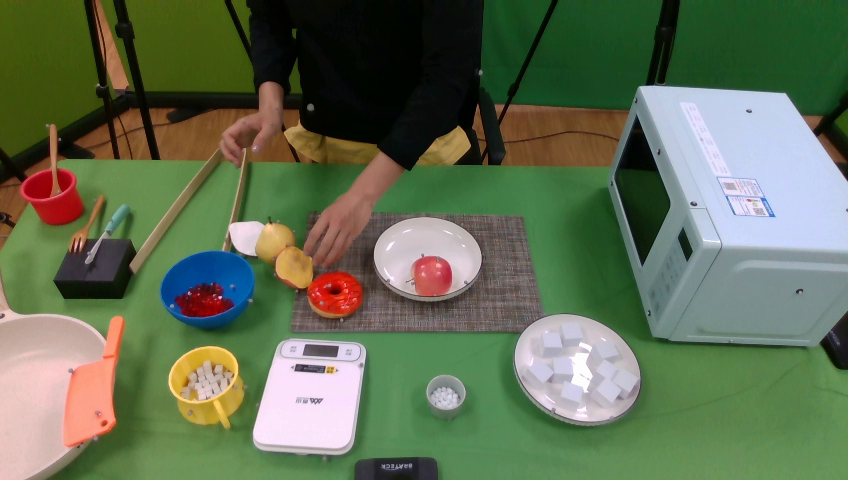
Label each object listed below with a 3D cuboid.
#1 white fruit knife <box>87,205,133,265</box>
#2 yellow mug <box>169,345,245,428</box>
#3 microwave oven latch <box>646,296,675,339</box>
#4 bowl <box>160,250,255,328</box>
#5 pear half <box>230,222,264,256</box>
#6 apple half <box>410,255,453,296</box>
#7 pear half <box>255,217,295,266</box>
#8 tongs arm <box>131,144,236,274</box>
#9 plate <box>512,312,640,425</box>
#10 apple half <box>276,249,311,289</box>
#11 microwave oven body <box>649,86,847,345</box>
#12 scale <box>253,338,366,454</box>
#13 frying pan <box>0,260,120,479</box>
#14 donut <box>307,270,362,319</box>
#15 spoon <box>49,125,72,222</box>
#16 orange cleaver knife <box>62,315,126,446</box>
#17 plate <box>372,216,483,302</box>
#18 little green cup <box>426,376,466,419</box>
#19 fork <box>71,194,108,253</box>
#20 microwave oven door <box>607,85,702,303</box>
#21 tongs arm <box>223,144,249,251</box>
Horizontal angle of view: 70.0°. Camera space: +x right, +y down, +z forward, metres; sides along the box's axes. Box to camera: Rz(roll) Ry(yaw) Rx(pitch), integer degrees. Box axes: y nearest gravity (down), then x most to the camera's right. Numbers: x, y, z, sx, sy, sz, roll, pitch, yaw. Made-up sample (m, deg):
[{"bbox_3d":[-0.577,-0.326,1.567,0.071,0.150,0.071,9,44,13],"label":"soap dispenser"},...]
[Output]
[{"bbox_3d":[-0.584,-0.013,1.129,0.016,0.027,0.206,-1,32,-4],"label":"white fruit knife"},{"bbox_3d":[-0.322,0.230,0.922,0.100,0.064,0.130,-24,53,-25],"label":"yellow mug"},{"bbox_3d":[0.412,0.134,1.061,0.030,0.029,0.078,4,45,1],"label":"microwave oven latch"},{"bbox_3d":[-0.362,0.098,1.040,0.151,0.077,0.150,2,45,-2],"label":"bowl"},{"bbox_3d":[-0.333,0.000,1.167,0.088,0.031,0.070,31,52,4],"label":"pear half"},{"bbox_3d":[0.015,0.058,1.103,0.075,0.053,0.080,-2,43,-8],"label":"apple half"},{"bbox_3d":[-0.269,0.001,1.117,0.056,0.110,0.076,26,55,19],"label":"pear half"},{"bbox_3d":[-0.483,-0.077,1.235,0.028,0.028,0.385,6,45,13],"label":"tongs arm"},{"bbox_3d":[0.246,0.213,0.999,0.208,0.039,0.206,2,46,-2],"label":"plate"},{"bbox_3d":[-0.244,0.057,1.113,0.033,0.082,0.081,-33,35,27],"label":"apple half"},{"bbox_3d":[0.567,-0.053,1.118,0.326,0.261,0.439,2,45,-1],"label":"microwave oven body"},{"bbox_3d":[-0.175,0.236,0.951,0.149,0.032,0.199,4,45,-1],"label":"scale"},{"bbox_3d":[-0.647,0.164,0.936,0.307,0.103,0.485,-19,58,-22],"label":"frying pan"},{"bbox_3d":[-0.157,0.096,1.073,0.099,0.048,0.098,4,46,-4],"label":"donut"},{"bbox_3d":[-0.718,-0.131,1.189,0.041,0.021,0.193,-4,90,-7],"label":"spoon"},{"bbox_3d":[-0.480,0.199,0.887,0.077,0.012,0.210,-9,47,-8],"label":"orange cleaver knife"},{"bbox_3d":[0.006,0.038,1.145,0.209,0.038,0.208,2,46,-2],"label":"plate"},{"bbox_3d":[0.033,0.248,0.950,0.061,0.039,0.061,2,46,-2],"label":"little green cup"},{"bbox_3d":[-0.634,-0.036,1.158,0.028,0.019,0.206,-8,31,-8],"label":"fork"},{"bbox_3d":[0.423,-0.094,1.140,0.039,0.245,0.353,2,46,-1],"label":"microwave oven door"},{"bbox_3d":[-0.397,-0.073,1.232,0.051,0.026,0.382,-2,45,0],"label":"tongs arm"}]
